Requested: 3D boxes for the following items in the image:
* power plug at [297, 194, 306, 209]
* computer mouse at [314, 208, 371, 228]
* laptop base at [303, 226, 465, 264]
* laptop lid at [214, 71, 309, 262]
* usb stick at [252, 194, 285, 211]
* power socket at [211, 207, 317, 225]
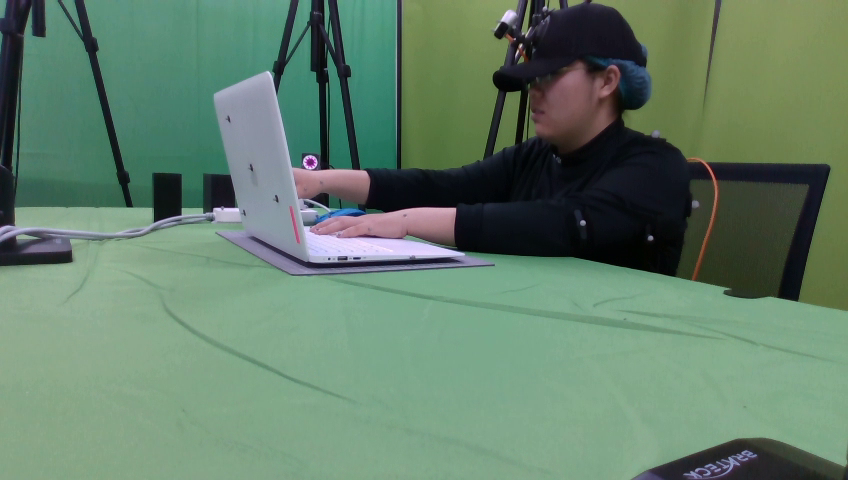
[{"bbox_3d":[-0.282,-0.076,1.340,0.035,0.052,0.072,4,5,-18],"label":"power plug"},{"bbox_3d":[-0.175,-0.047,1.292,0.118,0.041,0.062,-6,12,-33],"label":"computer mouse"},{"bbox_3d":[-0.125,0.007,0.955,0.237,0.023,0.352,3,6,-30],"label":"laptop base"},{"bbox_3d":[-0.245,-0.105,0.870,0.013,0.241,0.355,-15,16,-27],"label":"laptop lid"},{"bbox_3d":[-0.287,-0.070,1.115,0.059,0.027,0.021,1,12,-44],"label":"usb stick"},{"bbox_3d":[-0.334,-0.051,1.282,0.228,0.032,0.072,-1,9,-28],"label":"power socket"}]
